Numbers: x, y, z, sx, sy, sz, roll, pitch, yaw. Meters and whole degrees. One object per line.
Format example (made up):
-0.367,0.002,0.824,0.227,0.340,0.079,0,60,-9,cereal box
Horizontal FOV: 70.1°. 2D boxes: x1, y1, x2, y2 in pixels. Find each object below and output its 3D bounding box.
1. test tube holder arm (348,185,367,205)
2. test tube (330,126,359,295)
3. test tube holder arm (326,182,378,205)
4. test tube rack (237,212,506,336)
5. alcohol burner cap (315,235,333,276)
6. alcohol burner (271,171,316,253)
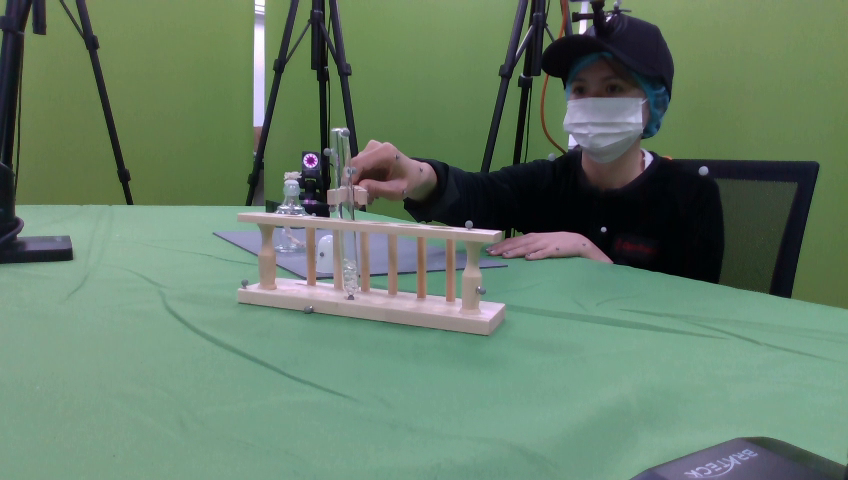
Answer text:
-0.066,-0.045,0.587,0.010,0.015,0.087,0,9,-14,test tube holder arm
-0.070,-0.024,0.533,0.017,0.150,0.017,-3,10,1,test tube
-0.072,-0.051,0.631,0.013,0.015,0.178,4,9,6,test tube holder arm
-0.049,0.024,0.552,0.242,0.085,0.067,5,8,18,test tube rack
-0.116,0.018,0.728,0.034,0.048,0.034,3,6,0,alcohol burner cap
-0.196,-0.041,0.884,0.078,0.119,0.078,3,5,0,alcohol burner
